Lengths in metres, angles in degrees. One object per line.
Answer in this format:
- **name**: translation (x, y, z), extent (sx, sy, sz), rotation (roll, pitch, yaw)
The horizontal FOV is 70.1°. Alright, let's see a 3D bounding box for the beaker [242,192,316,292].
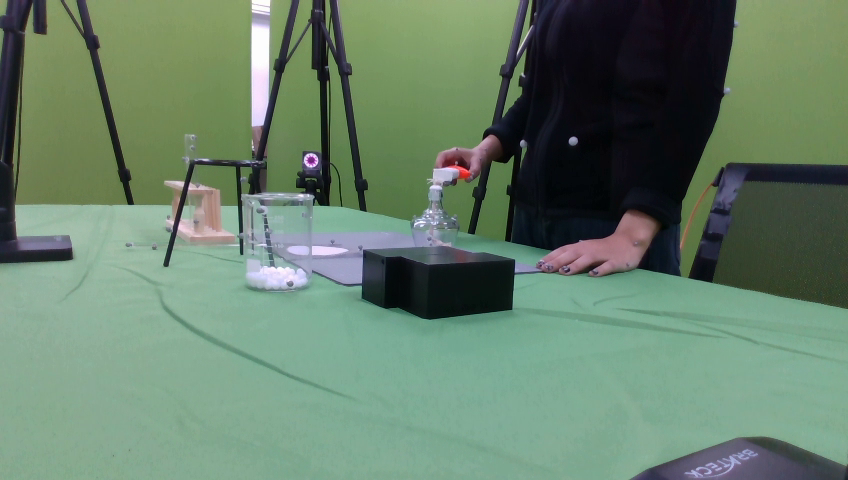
- **beaker**: translation (-0.157, 0.000, 0.642), extent (0.084, 0.100, 0.074), rotation (4, 7, 19)

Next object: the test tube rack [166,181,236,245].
- **test tube rack**: translation (-0.383, -0.051, 1.024), extent (0.067, 0.085, 0.241), rotation (-2, 9, -31)

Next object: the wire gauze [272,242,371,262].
- **wire gauze**: translation (-0.155, 0.013, 0.877), extent (0.122, 0.011, 0.124), rotation (-3, 10, -29)

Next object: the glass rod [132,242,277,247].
- **glass rod**: translation (-0.316, 0.007, 0.885), extent (0.201, 0.008, 0.008), rotation (0, 7, -27)

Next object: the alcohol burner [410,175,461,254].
- **alcohol burner**: translation (0.018, -0.040, 0.931), extent (0.078, 0.119, 0.078), rotation (0, 7, 0)

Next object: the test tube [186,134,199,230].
- **test tube**: translation (-0.360, -0.089, 0.946), extent (0.017, 0.150, 0.017), rotation (0, 10, 0)

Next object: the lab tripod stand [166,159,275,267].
- **lab tripod stand**: translation (-0.249, -0.036, 0.764), extent (0.148, 0.131, 0.148), rotation (2, 9, 0)

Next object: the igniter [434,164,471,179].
- **igniter**: translation (0.053, -0.122, 1.075), extent (0.057, 0.025, 0.277), rotation (9, 9, 8)

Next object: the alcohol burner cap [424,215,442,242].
- **alcohol burner cap**: translation (0.017, -0.022, 1.098), extent (0.034, 0.048, 0.034), rotation (2, 9, 0)
